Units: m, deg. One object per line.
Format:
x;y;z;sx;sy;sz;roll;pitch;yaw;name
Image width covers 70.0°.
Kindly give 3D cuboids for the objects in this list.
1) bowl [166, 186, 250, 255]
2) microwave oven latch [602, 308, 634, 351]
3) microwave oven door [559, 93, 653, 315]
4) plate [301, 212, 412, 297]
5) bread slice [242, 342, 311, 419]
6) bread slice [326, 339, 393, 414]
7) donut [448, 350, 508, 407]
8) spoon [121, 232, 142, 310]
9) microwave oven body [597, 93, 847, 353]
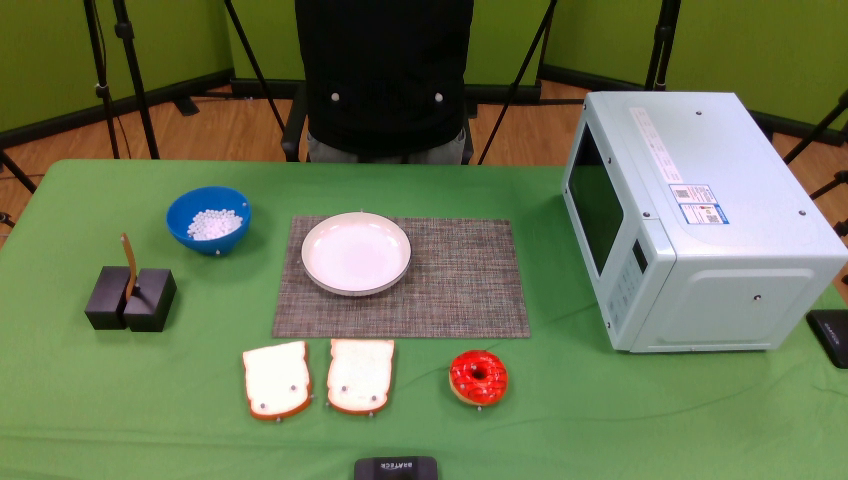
-0.403;-0.024;1.154;0.151;0.077;0.150;2;46;-2;bowl
0.332;0.153;1.044;0.030;0.029;0.078;-1;45;-4;microwave oven latch
0.327;-0.074;1.123;0.039;0.245;0.353;-1;46;-5;microwave oven door
-0.126;0.031;1.145;0.208;0.039;0.206;2;45;-2;plate
-0.234;0.223;0.970;0.105;0.019;0.130;-10;47;-13;bread slice
-0.103;0.219;0.983;0.107;0.018;0.133;0;45;-4;bread slice
0.087;0.223;0.977;0.099;0.048;0.098;4;46;-4;donut
-0.479;0.051;0.993;0.022;0.194;0.041;13;46;-11;spoon
0.475;-0.041;1.109;0.326;0.261;0.438;-1;45;-4;microwave oven body
